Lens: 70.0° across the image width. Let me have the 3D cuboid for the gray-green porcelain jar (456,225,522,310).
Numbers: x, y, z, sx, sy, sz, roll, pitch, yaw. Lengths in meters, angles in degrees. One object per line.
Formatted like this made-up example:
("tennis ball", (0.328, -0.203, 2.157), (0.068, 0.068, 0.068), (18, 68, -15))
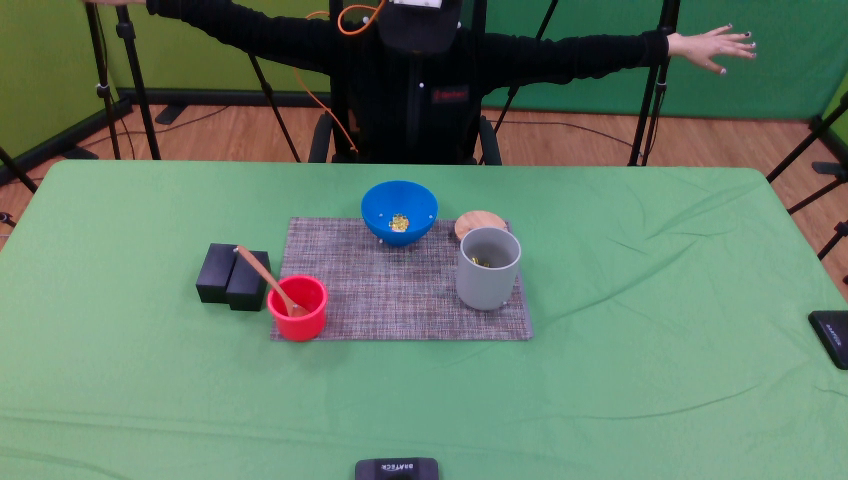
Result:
("gray-green porcelain jar", (0.111, 0.054, 1.076), (0.106, 0.127, 0.105), (2, 46, -2))

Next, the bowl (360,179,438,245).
("bowl", (-0.049, -0.042, 1.190), (0.151, 0.077, 0.150), (2, 46, -2))

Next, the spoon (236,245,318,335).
("spoon", (-0.245, 0.082, 1.011), (0.194, 0.021, 0.041), (55, 52, -15))

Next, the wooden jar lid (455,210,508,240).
("wooden jar lid", (0.115, -0.018, 1.220), (0.108, 0.021, 0.107), (3, 47, -3))
